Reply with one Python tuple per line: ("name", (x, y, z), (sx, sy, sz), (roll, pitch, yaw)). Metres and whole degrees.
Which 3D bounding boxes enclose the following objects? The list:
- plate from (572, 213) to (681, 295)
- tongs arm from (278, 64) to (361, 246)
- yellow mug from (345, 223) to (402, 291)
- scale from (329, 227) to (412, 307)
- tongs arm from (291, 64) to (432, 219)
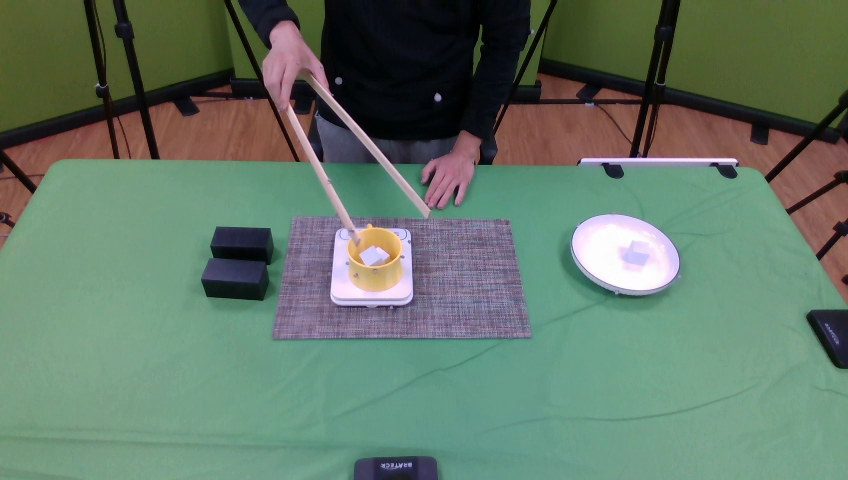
("plate", (0.392, 0.030, 1.189), (0.208, 0.039, 0.206), (2, 46, -2))
("tongs arm", (-0.173, -0.153, 1.019), (0.051, 0.026, 0.382), (-20, 65, -24))
("yellow mug", (-0.092, 0.022, 1.093), (0.100, 0.064, 0.130), (-8, 46, -10))
("scale", (-0.099, 0.042, 1.139), (0.149, 0.032, 0.199), (1, 46, -4))
("tongs arm", (-0.112, -0.178, 1.053), (0.028, 0.028, 0.386), (-33, 71, -25))
